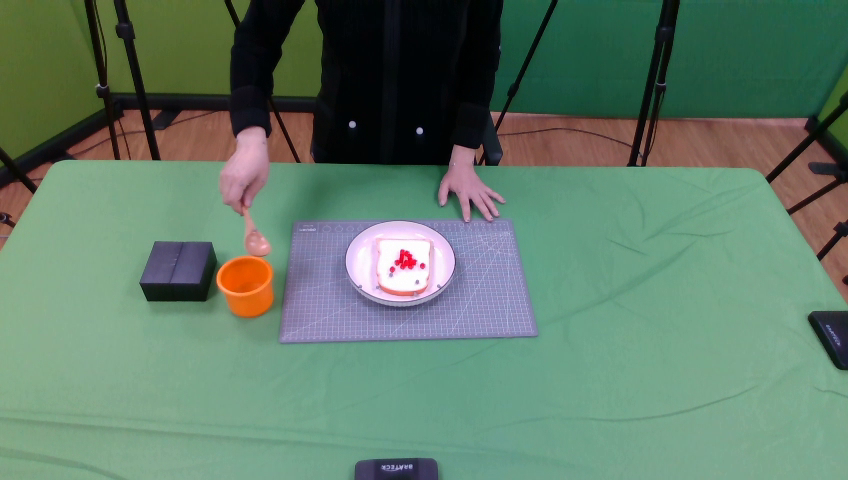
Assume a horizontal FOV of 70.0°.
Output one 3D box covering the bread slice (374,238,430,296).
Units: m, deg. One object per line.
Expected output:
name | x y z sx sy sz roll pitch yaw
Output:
bread slice | -0.039 0.048 1.135 0.107 0.018 0.133 -1 47 -4

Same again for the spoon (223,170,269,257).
spoon | -0.311 -0.049 1.046 0.042 0.022 0.192 -12 65 -31

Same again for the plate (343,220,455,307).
plate | -0.047 0.046 1.135 0.209 0.038 0.208 2 46 -2
